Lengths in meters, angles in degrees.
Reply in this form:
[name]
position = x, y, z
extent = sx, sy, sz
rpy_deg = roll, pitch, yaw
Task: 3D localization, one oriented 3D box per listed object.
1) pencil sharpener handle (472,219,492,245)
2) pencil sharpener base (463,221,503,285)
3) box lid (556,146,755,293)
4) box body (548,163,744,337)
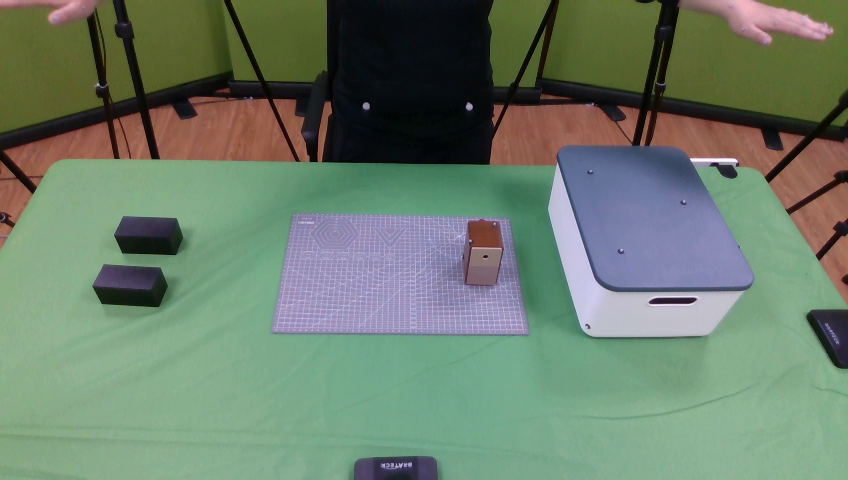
[pencil sharpener handle]
position = 0.104, -0.021, 1.145
extent = 0.036, 0.068, 0.030
rpy_deg = 7, 44, -8
[pencil sharpener base]
position = 0.107, 0.024, 1.119
extent = 0.061, 0.107, 0.076
rpy_deg = 1, 45, -2
[box lid]
position = 0.394, -0.051, 1.075
extent = 0.263, 0.015, 0.369
rpy_deg = 0, 46, -4
[box body]
position = 0.391, -0.001, 1.130
extent = 0.254, 0.161, 0.361
rpy_deg = -1, 46, -4
